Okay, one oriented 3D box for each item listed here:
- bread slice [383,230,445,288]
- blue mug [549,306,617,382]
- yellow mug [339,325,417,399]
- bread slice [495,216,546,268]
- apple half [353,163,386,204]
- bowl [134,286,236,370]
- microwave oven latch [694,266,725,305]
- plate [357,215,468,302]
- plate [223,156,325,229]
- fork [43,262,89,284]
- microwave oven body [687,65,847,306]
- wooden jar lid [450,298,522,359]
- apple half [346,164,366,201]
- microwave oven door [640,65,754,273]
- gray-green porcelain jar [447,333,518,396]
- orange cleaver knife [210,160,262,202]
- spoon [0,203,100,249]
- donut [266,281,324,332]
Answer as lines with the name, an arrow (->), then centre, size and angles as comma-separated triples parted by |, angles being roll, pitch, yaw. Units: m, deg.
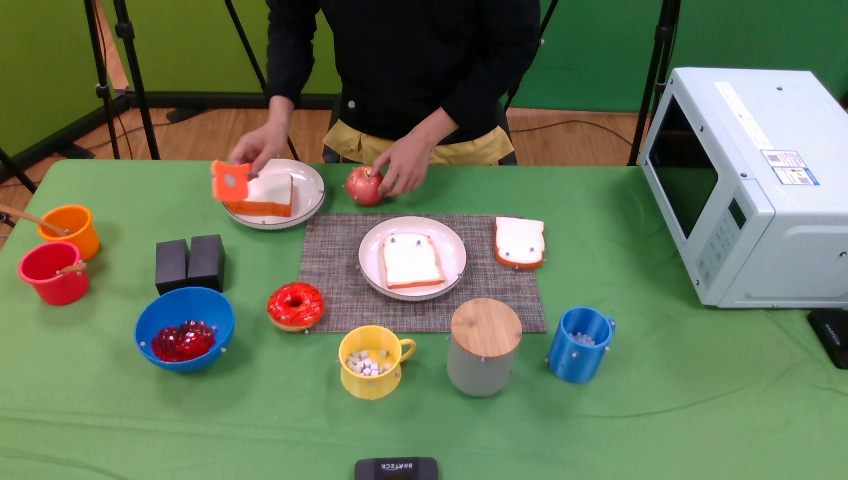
bread slice -> -0.028, 0.035, 1.144 | 0.107, 0.018, 0.133 | -7, 48, -12
blue mug -> 0.269, 0.166, 0.998 | 0.116, 0.106, 0.082 | -19, 51, -21
yellow mug -> -0.072, 0.190, 0.978 | 0.131, 0.064, 0.099 | -17, 50, -20
bread slice -> 0.194, 0.002, 1.204 | 0.105, 0.019, 0.131 | 5, 45, 2
apple half -> -0.108, -0.112, 1.258 | 0.053, 0.075, 0.080 | 20, 45, 7
bowl -> -0.377, 0.155, 0.981 | 0.151, 0.077, 0.150 | 2, 46, -2
microwave oven latch -> 0.523, 0.082, 1.115 | 0.030, 0.029, 0.078 | 3, 46, 0
plate -> -0.022, 0.037, 1.141 | 0.208, 0.039, 0.206 | 2, 46, -2
plate -> -0.308, -0.095, 1.251 | 0.209, 0.038, 0.208 | 2, 46, -2
fork -> -0.599, 0.053, 1.014 | 0.207, 0.019, 0.028 | -14, 30, 45
microwave oven body -> 0.669, -0.111, 1.176 | 0.326, 0.261, 0.439 | 0, 46, -3
wooden jar lid -> 0.093, 0.135, 0.914 | 0.108, 0.021, 0.107 | 2, 49, -3
apple half -> -0.145, -0.122, 1.263 | 0.033, 0.081, 0.081 | 20, 48, 8
microwave oven door -> 0.522, -0.147, 1.193 | 0.039, 0.245, 0.353 | 0, 47, -3
gray-green porcelain jar -> 0.091, 0.178, 0.960 | 0.106, 0.127, 0.105 | 2, 46, -2
orange cleaver knife -> -0.338, -0.111, 1.106 | 0.012, 0.077, 0.211 | -6, 10, 9
spoon -> -0.683, -0.031, 1.088 | 0.195, 0.021, 0.041 | 33, 33, -38
donut -> -0.222, 0.115, 1.049 | 0.099, 0.048, 0.098 | 2, 45, -2
